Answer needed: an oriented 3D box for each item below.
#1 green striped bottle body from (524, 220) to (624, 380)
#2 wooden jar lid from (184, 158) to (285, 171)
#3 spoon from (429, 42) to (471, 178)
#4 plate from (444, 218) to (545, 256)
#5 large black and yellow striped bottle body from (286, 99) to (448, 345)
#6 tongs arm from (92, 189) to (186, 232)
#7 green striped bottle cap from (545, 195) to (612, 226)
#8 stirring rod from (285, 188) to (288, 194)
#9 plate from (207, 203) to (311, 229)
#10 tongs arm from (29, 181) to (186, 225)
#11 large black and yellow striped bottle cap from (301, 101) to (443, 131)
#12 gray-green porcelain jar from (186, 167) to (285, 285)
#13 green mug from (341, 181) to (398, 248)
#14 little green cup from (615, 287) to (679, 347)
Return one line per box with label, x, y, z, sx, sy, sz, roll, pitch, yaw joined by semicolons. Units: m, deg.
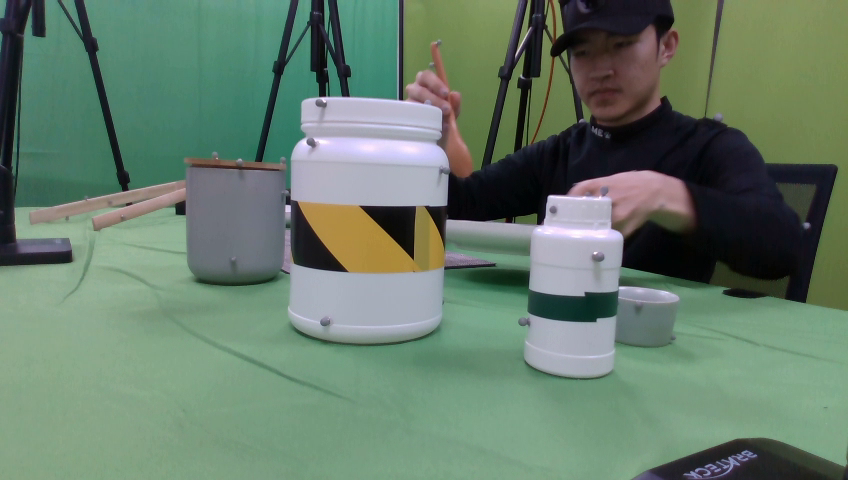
green striped bottle body;0.104;0.031;0.422;0.063;0.119;0.063;2;7;0
wooden jar lid;-0.210;-0.078;0.674;0.108;0.020;0.108;4;6;0
spoon;0.032;-0.182;0.849;0.041;0.193;0.022;-14;-5;42
plate;0.113;-0.004;0.768;0.209;0.038;0.209;4;3;0
large black and yellow striped bottle body;-0.047;-0.018;0.501;0.131;0.184;0.130;2;7;0
tongs arm;-0.534;-0.076;1.221;0.028;0.028;0.388;-2;15;12
green striped bottle cap;0.106;-0.020;0.414;0.044;0.020;0.044;2;4;0
stirring rod;-0.354;-0.122;1.518;0.006;0.014;0.176;2;6;1
plate;-0.342;-0.050;1.259;0.208;0.039;0.207;2;7;0
tongs arm;-0.609;-0.083;1.245;0.050;0.026;0.386;5;16;23
large black and yellow striped bottle cap;-0.042;-0.100;0.491;0.115;0.019;0.115;1;8;0
gray-green porcelain jar;-0.212;-0.017;0.682;0.106;0.126;0.106;2;7;0
green mug;-0.089;-0.044;0.997;0.093;0.105;0.125;1;7;-8
little green cup;0.180;0.064;0.506;0.061;0.038;0.061;1;8;0
